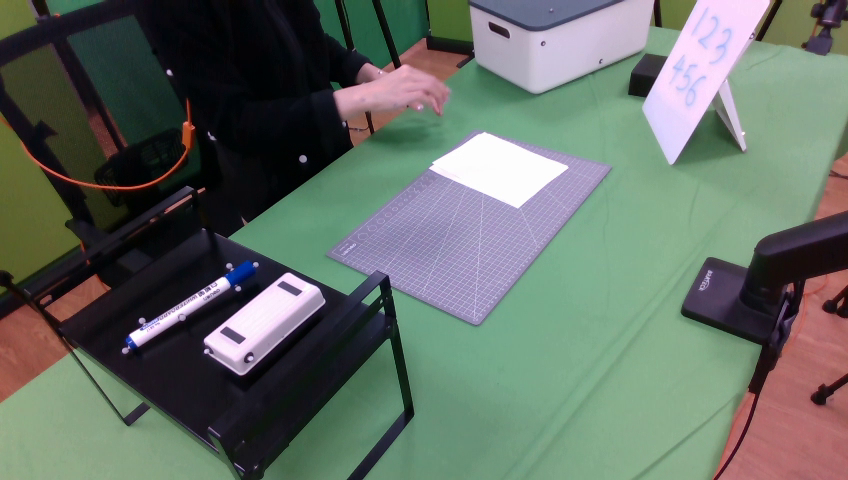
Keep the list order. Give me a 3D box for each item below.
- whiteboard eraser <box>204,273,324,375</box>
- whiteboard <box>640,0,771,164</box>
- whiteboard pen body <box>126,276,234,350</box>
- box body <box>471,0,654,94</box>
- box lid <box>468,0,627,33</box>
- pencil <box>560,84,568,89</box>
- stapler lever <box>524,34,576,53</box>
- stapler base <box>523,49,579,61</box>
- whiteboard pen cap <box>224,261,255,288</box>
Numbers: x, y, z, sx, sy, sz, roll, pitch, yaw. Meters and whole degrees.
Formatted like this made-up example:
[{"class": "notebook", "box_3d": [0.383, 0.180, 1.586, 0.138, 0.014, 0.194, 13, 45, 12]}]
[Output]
[{"class": "whiteboard eraser", "box_3d": [-0.157, 0.084, 0.605, 0.055, 0.042, 0.113, 24, 49, 30]}, {"class": "whiteboard", "box_3d": [0.543, -0.299, 1.076, 0.144, 0.305, 0.216, 12, 40, -7]}, {"class": "whiteboard pen body", "box_3d": [-0.251, 0.070, 0.649, 0.141, 0.017, 0.017, -36, 48, -25]}, {"class": "box body", "box_3d": [0.319, -0.498, 1.405, 0.365, 0.161, 0.252, -26, 43, -21]}, {"class": "box lid", "box_3d": [0.312, -0.554, 1.358, 0.373, 0.015, 0.261, -26, 44, -20]}, {"class": "pencil", "box_3d": [0.248, -0.394, 1.398, 0.193, 0.012, 0.012, 34, 54, 23]}, {"class": "stapler lever", "box_3d": [0.297, -0.462, 1.423, 0.117, 0.040, 0.027, 4, 25, 17]}, {"class": "stapler base", "box_3d": [0.300, -0.441, 1.434, 0.130, 0.024, 0.041, 3, 25, 18]}, {"class": "whiteboard pen cap", "box_3d": [-0.207, 0.039, 0.677, 0.033, 0.018, 0.018, -36, 47, -18]}]
